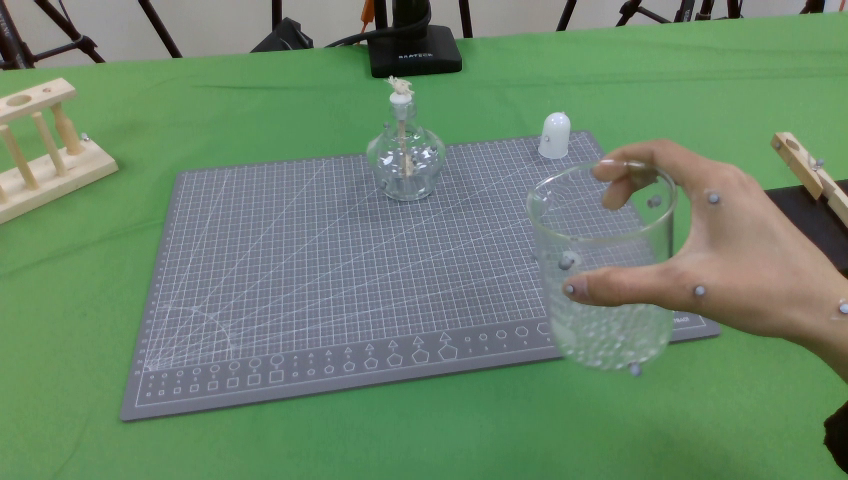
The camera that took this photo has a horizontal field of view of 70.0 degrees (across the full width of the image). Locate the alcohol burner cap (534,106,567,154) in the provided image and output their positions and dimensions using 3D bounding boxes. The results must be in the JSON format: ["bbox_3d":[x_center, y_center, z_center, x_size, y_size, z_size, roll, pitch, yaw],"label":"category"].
[{"bbox_3d":[0.135,-0.119,0.642,0.034,0.048,0.033,0,43,1],"label":"alcohol burner cap"}]

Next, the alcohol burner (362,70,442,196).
[{"bbox_3d":[-0.022,-0.103,0.575,0.078,0.120,0.077,-2,42,2],"label":"alcohol burner"}]

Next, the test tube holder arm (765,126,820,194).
[{"bbox_3d":[0.332,-0.073,0.543,0.010,0.015,0.087,-10,43,2],"label":"test tube holder arm"}]

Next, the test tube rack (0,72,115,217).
[{"bbox_3d":[-0.433,-0.066,0.565,0.066,0.086,0.242,33,53,31],"label":"test tube rack"}]

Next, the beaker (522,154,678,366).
[{"bbox_3d":[0.095,0.013,0.337,0.083,0.101,0.074,20,48,40],"label":"beaker"}]

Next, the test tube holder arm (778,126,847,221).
[{"bbox_3d":[0.342,-0.043,0.510,0.013,0.015,0.176,-10,43,2],"label":"test tube holder arm"}]
